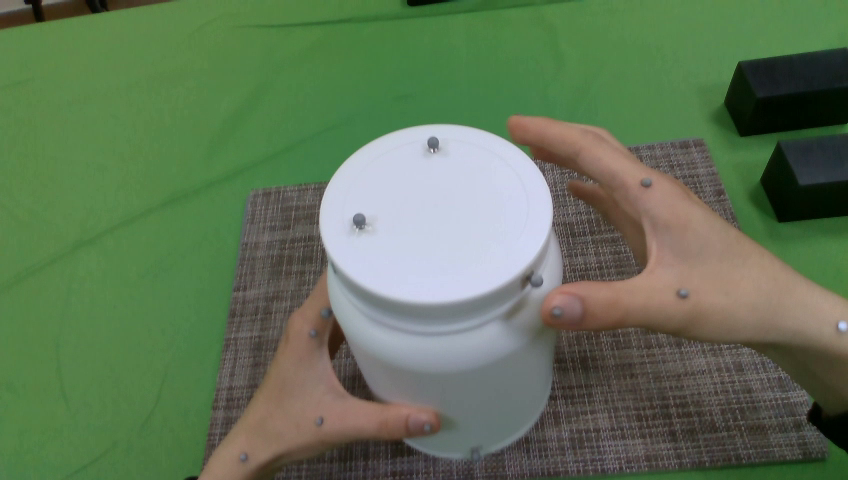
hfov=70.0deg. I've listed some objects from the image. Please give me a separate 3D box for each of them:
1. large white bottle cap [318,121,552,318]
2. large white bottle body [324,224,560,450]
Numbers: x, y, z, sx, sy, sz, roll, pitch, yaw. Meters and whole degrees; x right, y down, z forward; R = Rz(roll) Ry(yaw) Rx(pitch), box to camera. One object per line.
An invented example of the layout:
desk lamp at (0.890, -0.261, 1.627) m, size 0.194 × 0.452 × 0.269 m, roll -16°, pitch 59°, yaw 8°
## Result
large white bottle cap at (0.005, -0.015, 0.299) m, size 0.115 × 0.018 × 0.113 m, roll -1°, pitch 54°, yaw 2°
large white bottle body at (0.014, 0.038, 0.372) m, size 0.130 × 0.186 × 0.129 m, roll -4°, pitch 53°, yaw 5°
